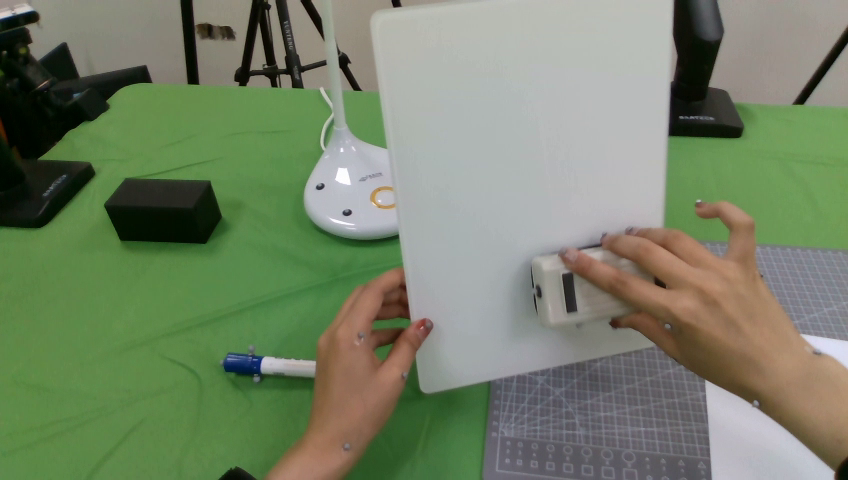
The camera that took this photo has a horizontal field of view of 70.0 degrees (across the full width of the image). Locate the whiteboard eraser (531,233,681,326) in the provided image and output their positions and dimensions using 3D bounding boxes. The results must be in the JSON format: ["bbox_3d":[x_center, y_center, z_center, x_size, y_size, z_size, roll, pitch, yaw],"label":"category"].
[{"bbox_3d":[0.141,0.031,0.476,0.113,0.055,0.041,-10,3,-7],"label":"whiteboard eraser"}]

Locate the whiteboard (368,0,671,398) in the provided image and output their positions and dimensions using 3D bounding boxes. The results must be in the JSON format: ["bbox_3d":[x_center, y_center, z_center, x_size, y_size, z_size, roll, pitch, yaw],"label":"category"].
[{"bbox_3d":[0.075,-0.051,0.526,0.217,0.307,0.142,-10,22,-7],"label":"whiteboard"}]

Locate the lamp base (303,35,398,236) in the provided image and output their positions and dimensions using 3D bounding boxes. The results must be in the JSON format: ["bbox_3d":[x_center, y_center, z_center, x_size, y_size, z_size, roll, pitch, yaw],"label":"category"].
[{"bbox_3d":[-0.074,-0.123,0.670,0.161,0.182,0.177,-30,45,-28],"label":"lamp base"}]

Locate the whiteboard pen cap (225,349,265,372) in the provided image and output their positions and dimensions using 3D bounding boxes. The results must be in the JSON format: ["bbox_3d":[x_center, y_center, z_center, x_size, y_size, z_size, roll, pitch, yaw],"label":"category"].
[{"bbox_3d":[-0.154,0.105,0.526,0.033,0.018,0.018,6,41,0],"label":"whiteboard pen cap"}]

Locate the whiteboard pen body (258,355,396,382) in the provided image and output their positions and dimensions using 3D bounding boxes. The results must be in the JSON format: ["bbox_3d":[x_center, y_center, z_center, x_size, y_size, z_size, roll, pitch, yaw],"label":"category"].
[{"bbox_3d":[-0.094,0.110,0.522,0.141,0.017,0.017,4,41,2],"label":"whiteboard pen body"}]
